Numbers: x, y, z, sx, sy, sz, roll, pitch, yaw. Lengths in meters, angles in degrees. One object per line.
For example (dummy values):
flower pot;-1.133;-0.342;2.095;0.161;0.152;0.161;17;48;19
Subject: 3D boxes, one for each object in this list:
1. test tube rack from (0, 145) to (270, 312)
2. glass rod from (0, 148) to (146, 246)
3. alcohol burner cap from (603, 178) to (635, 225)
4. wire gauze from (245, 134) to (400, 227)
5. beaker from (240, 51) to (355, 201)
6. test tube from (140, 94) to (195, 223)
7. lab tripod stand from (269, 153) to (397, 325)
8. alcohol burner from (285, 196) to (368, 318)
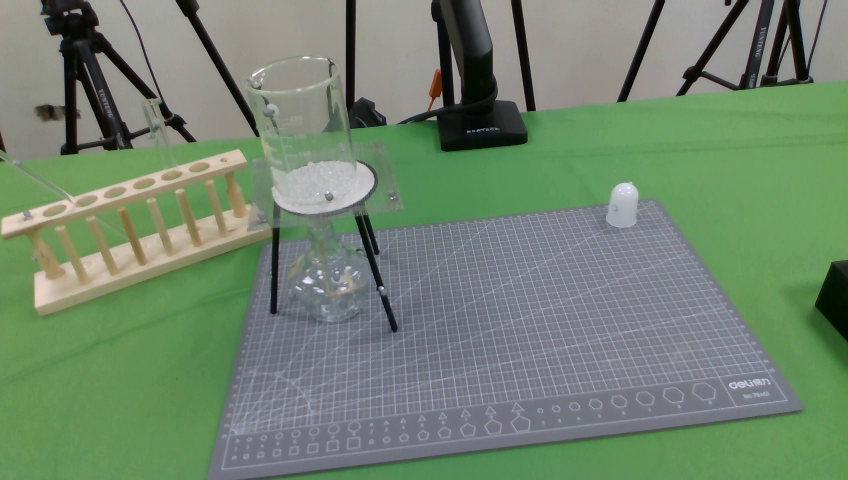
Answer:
test tube rack;-0.300;-0.018;0.649;0.243;0.086;0.066;-21;40;-20
glass rod;-0.362;-0.048;0.604;0.008;0.202;0.008;-21;47;24
alcohol burner cap;0.211;-0.044;0.653;0.034;0.048;0.033;-3;37;3
wire gauze;-0.089;-0.052;0.515;0.125;0.011;0.120;-12;35;-4
beaker;-0.098;-0.089;0.484;0.083;0.101;0.073;13;41;24
test tube;-0.273;-0.082;0.649;0.017;0.151;0.017;-3;34;2
lab tripod stand;-0.083;0.000;0.555;0.148;0.133;0.147;-4;39;3
alcohol burner;-0.092;0.013;0.556;0.078;0.120;0.077;-4;36;3
